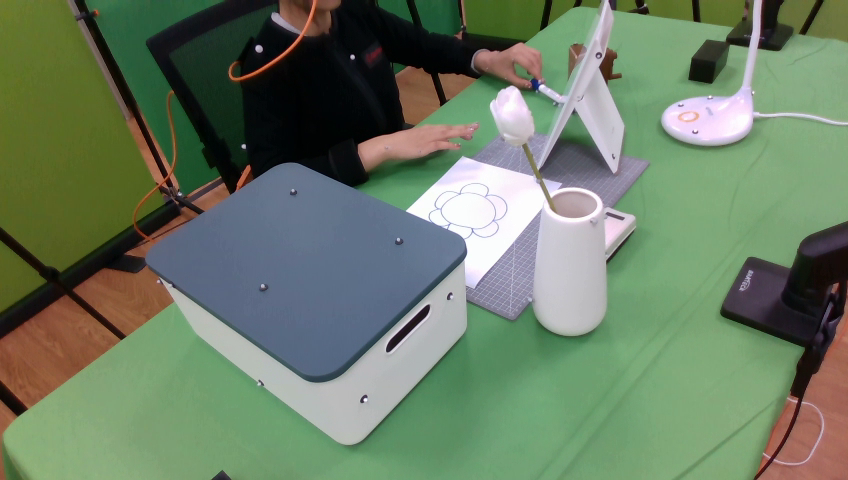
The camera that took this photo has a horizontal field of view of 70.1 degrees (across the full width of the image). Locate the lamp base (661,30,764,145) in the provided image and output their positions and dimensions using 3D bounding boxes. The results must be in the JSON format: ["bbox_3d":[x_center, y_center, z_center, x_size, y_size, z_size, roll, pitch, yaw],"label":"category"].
[{"bbox_3d":[0.535,-0.287,1.096,0.179,0.181,0.159,-10,40,-4],"label":"lamp base"}]

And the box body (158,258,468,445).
[{"bbox_3d":[-0.147,0.072,0.816,0.361,0.161,0.255,24,50,33],"label":"box body"}]

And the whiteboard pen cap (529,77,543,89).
[{"bbox_3d":[0.247,-0.344,1.327,0.018,0.018,0.033,-24,48,-17],"label":"whiteboard pen cap"}]

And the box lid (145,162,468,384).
[{"bbox_3d":[-0.157,0.014,0.769,0.368,0.015,0.264,25,51,33],"label":"box lid"}]

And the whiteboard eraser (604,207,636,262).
[{"bbox_3d":[0.272,-0.003,0.919,0.055,0.042,0.113,27,51,32],"label":"whiteboard eraser"}]

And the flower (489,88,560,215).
[{"bbox_3d":[0.158,-0.027,0.720,0.038,0.364,0.044,-14,44,23],"label":"flower"}]

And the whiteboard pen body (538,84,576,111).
[{"bbox_3d":[0.278,-0.309,1.290,0.017,0.017,0.139,-25,46,-18],"label":"whiteboard pen body"}]

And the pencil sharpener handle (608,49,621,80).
[{"bbox_3d":[0.394,-0.367,1.253,0.030,0.068,0.036,-8,33,1],"label":"pencil sharpener handle"}]

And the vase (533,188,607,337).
[{"bbox_3d":[0.187,0.033,0.771,0.098,0.201,0.097,-6,41,6],"label":"vase"}]

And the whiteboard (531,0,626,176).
[{"bbox_3d":[0.320,-0.259,1.050,0.144,0.306,0.217,22,45,6],"label":"whiteboard"}]

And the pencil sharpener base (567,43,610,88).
[{"bbox_3d":[0.345,-0.352,1.263,0.077,0.107,0.061,-8,40,1],"label":"pencil sharpener base"}]
